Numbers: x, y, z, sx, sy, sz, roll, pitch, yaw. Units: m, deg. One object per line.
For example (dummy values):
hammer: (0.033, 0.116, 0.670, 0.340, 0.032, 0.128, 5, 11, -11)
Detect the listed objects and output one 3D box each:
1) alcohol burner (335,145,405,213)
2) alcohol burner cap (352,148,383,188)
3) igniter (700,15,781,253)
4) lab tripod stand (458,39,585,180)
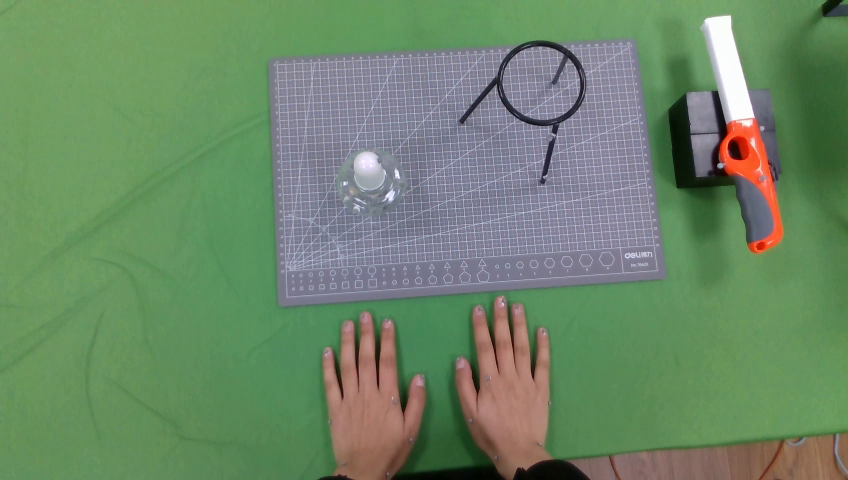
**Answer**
alcohol burner: (-0.059, -0.070, 0.656, 0.078, 0.119, 0.077, 0, 83, -1)
alcohol burner cap: (-0.059, -0.077, 0.620, 0.034, 0.048, 0.033, 1, 74, -2)
igniter: (0.353, -0.122, 0.678, 0.057, 0.025, 0.275, -7, 80, -1)
lab tripod stand: (0.116, -0.151, 0.664, 0.148, 0.132, 0.148, 0, 79, -1)
